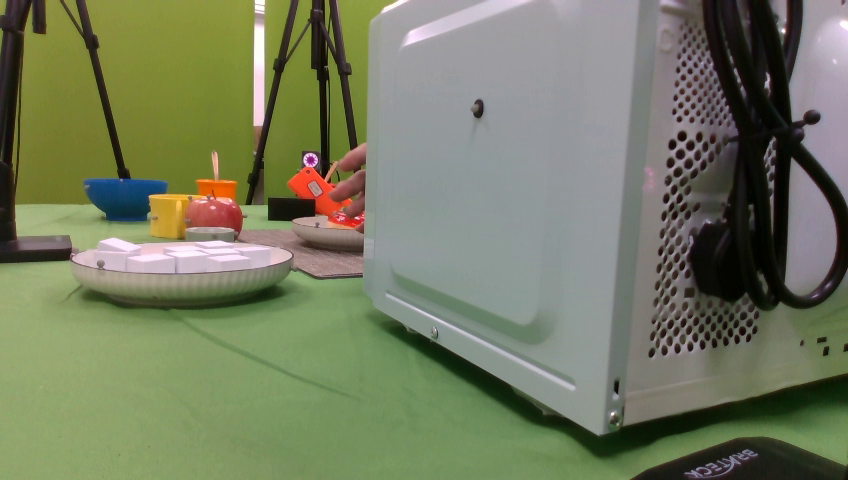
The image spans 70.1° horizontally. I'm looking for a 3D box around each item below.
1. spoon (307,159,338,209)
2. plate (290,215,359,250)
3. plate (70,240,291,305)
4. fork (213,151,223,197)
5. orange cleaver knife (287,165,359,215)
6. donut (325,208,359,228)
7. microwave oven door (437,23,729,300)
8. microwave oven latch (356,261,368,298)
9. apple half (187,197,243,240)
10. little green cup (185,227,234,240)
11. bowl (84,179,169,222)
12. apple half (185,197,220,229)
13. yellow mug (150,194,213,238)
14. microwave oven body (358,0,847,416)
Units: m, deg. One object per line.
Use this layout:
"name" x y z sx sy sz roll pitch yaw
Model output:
"spoon" -0.257 -0.147 1.567 0.041 0.022 0.193 1 51 19
"plate" -0.110 -0.014 0.973 0.209 0.038 0.209 3 8 0
"plate" -0.242 0.031 0.618 0.208 0.039 0.207 2 8 0
"fork" -0.493 -0.143 1.442 0.028 0.018 0.206 -3 52 -18
"orange cleaver knife" -0.211 -0.092 1.382 0.212 0.077 0.012 34 1 -15
"donut" -0.110 -0.025 0.974 0.099 0.048 0.099 4 8 0
"microwave oven door" 0.181 -0.072 0.621 0.358 0.243 0.039 -2 8 -29
"microwave oven latch" -0.020 0.033 0.530 0.079 0.029 0.030 -1 7 -27
"apple half" -0.305 -0.026 0.907 0.053 0.074 0.081 12 8 31
"little green cup" -0.285 0.005 0.805 0.061 0.038 0.061 2 8 0
"bowl" -0.584 -0.079 1.194 0.151 0.077 0.151 3 8 0
"apple half" -0.338 -0.031 0.927 0.032 0.081 0.081 12 12 31
"yellow mug" -0.401 -0.040 1.003 0.100 0.064 0.130 -1 9 -20
"microwave oven body" 0.210 -0.047 0.474 0.444 0.260 0.324 -1 8 -28
